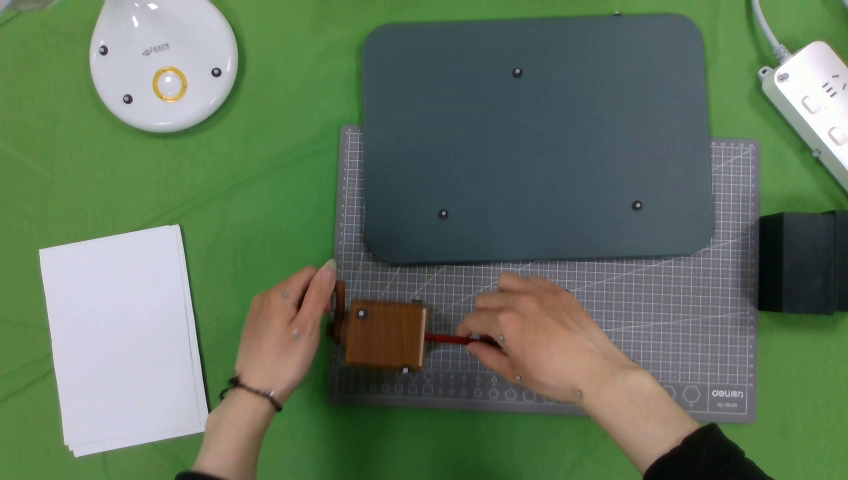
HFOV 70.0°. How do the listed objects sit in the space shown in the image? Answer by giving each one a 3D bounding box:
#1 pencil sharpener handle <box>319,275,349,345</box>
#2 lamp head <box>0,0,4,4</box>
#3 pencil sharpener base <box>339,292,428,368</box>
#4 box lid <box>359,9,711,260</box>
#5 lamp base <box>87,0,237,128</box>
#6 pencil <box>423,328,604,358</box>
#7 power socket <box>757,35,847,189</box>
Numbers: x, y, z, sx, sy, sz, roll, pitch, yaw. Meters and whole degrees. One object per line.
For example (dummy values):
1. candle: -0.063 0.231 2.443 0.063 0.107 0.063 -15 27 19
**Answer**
1. pencil sharpener handle: -0.088 0.065 0.573 0.030 0.036 0.067 5 65 2
2. lamp head: -0.260 -0.191 0.303 0.112 0.124 0.111 -21 51 29
3. pencil sharpener base: -0.038 0.085 0.593 0.077 0.107 0.061 5 87 2
4. box lid: 0.118 -0.113 0.649 0.371 0.015 0.262 -2 87 1
5. lamp base: -0.292 -0.216 0.580 0.160 0.180 0.178 -29 84 0
6. pencil: 0.072 0.094 0.566 0.194 0.012 0.012 7 87 -1
7. power socket: 0.446 -0.114 0.632 0.072 0.032 0.226 -38 86 -1
